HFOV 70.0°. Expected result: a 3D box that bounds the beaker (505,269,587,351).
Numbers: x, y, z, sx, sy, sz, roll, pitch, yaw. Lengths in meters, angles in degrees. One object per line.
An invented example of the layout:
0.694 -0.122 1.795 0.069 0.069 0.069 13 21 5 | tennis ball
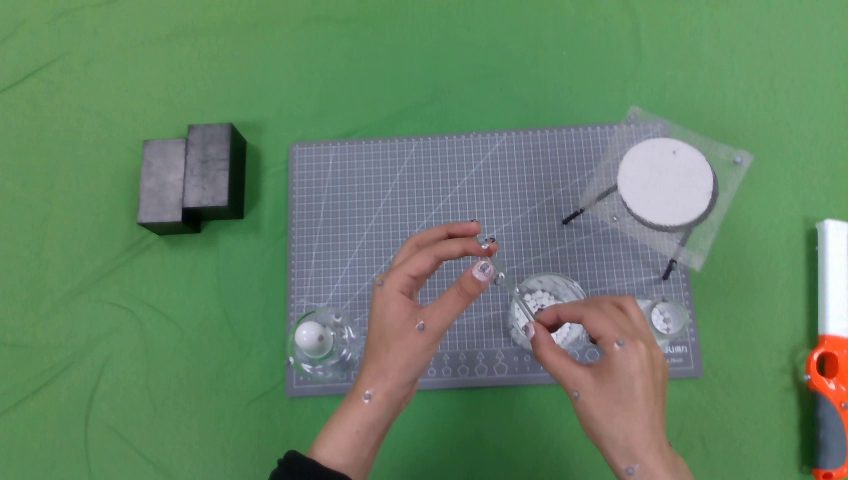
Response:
0.122 0.078 0.621 0.074 0.101 0.083 -38 78 -6 | beaker

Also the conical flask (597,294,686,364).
0.221 0.083 0.603 0.075 0.122 0.075 -1 76 3 | conical flask

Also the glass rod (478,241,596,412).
0.093 0.075 0.476 0.008 0.008 0.201 -40 117 -7 | glass rod

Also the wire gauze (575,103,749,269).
0.220 -0.054 0.561 0.124 0.011 0.121 29 81 10 | wire gauze

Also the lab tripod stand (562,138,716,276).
0.226 -0.036 0.626 0.148 0.132 0.147 -1 78 4 | lab tripod stand

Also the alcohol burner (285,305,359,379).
-0.108 0.103 0.618 0.078 0.119 0.077 -1 77 4 | alcohol burner

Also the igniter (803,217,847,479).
0.429 0.110 0.639 0.057 0.025 0.275 10 77 -6 | igniter

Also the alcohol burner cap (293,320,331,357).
-0.109 0.092 0.583 0.034 0.048 0.033 0 69 1 | alcohol burner cap
